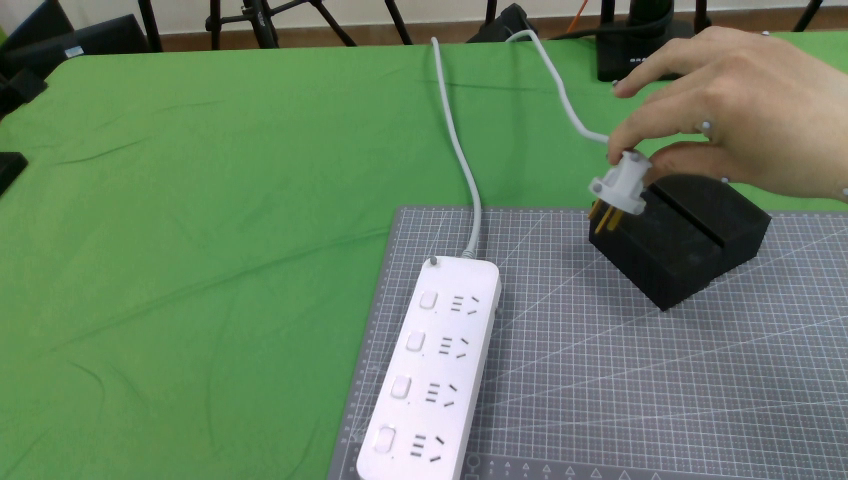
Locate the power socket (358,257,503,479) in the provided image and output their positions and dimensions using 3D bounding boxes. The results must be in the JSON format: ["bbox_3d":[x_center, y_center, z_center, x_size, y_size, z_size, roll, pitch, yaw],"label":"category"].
[{"bbox_3d":[0.011,0.103,0.486,0.072,0.033,0.225,9,50,13],"label":"power socket"}]

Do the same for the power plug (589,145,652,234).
[{"bbox_3d":[0.128,-0.031,0.388,0.035,0.053,0.073,33,23,19],"label":"power plug"}]
